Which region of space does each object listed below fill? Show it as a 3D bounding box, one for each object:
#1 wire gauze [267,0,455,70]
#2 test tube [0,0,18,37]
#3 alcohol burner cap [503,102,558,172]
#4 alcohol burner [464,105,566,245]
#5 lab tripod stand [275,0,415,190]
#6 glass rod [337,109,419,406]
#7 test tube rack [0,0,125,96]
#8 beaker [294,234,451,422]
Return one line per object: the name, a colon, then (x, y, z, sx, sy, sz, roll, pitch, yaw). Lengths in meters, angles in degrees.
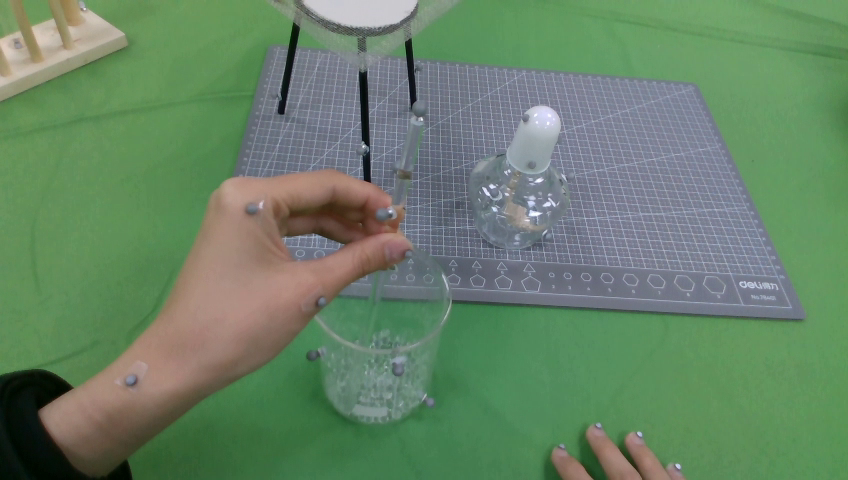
wire gauze: (-0.050, -0.178, 0.432, 0.124, 0.011, 0.121, 36, 56, 18)
test tube: (-0.367, -0.234, 0.488, 0.017, 0.151, 0.017, 2, 48, -2)
alcohol burner cap: (0.076, -0.073, 0.419, 0.034, 0.048, 0.033, 4, 55, -5)
alcohol burner: (0.071, -0.052, 0.447, 0.078, 0.120, 0.077, 5, 49, -6)
lab tripod stand: (-0.056, -0.135, 0.484, 0.149, 0.132, 0.147, 5, 51, -6)
glass rod: (-0.028, 0.023, 0.312, 0.008, 0.201, 0.008, 11, 37, -8)
test tube rack: (-0.383, -0.167, 0.496, 0.066, 0.086, 0.242, 35, 54, 19)
beaker: (-0.031, 0.057, 0.357, 0.084, 0.101, 0.073, -4, 51, -10)
